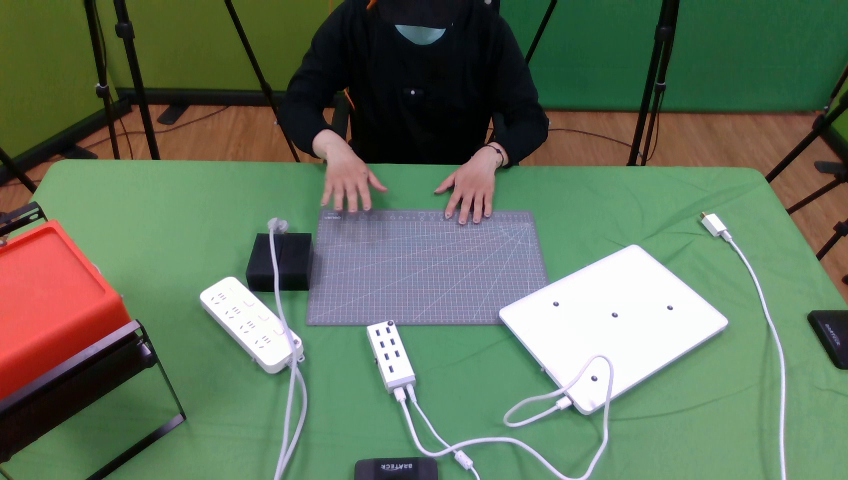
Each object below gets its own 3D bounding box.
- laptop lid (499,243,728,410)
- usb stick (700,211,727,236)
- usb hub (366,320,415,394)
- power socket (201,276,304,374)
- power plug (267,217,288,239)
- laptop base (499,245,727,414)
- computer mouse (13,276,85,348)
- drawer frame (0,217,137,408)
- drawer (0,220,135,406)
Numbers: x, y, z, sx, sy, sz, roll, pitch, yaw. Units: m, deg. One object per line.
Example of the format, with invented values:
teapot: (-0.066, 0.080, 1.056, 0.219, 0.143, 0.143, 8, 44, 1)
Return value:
laptop lid: (0.338, 0.136, 1.081, 0.357, 0.013, 0.240, -21, 50, -23)
usb stick: (0.606, -0.038, 1.273, 0.027, 0.021, 0.059, -18, 57, -20)
usb hub: (-0.056, 0.192, 1.009, 0.049, 0.025, 0.124, -12, 49, -16)
power socket: (-0.296, 0.141, 1.034, 0.225, 0.033, 0.072, 37, 55, 26)
power plug: (-0.286, -0.014, 1.168, 0.035, 0.053, 0.072, -14, 37, 23)
laptop base: (0.339, 0.145, 1.088, 0.354, 0.023, 0.234, -23, 49, -24)
computer mouse: (-0.497, 0.090, 0.804, 0.063, 0.041, 0.116, -7, 42, -7)
drawer frame: (-0.523, 0.094, 0.779, 0.200, 0.083, 0.213, 37, 55, 26)
drawer: (-0.522, 0.093, 0.782, 0.193, 0.073, 0.211, 37, 55, 27)
